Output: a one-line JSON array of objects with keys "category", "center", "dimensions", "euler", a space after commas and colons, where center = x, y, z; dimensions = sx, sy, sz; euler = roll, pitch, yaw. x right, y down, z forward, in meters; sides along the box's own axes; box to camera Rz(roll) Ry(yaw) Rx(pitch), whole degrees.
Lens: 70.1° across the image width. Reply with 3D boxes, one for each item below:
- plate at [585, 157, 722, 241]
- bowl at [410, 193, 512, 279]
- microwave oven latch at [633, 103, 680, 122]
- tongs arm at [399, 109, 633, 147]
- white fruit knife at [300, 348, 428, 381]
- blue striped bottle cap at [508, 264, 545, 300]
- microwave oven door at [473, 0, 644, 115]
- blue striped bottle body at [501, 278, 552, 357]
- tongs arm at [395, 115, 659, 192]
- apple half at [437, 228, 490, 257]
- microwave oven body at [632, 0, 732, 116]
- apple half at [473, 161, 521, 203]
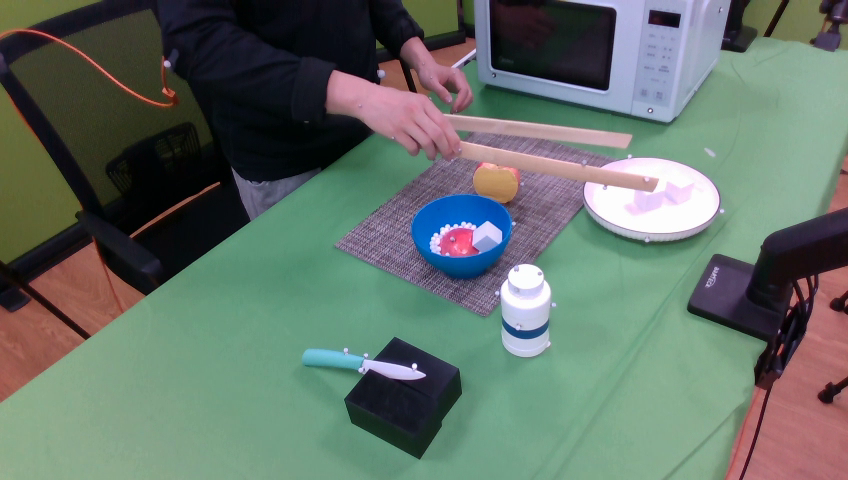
[{"category": "plate", "center": [0.367, -0.063, 0.979], "dimensions": [0.207, 0.039, 0.206], "euler": [-4, 40, 4]}, {"category": "bowl", "center": [0.058, 0.005, 0.905], "dimensions": [0.151, 0.077, 0.150], "euler": [-4, 40, 4]}, {"category": "microwave oven latch", "center": [0.443, -0.249, 1.157], "dimensions": [0.078, 0.029, 0.030], "euler": [21, 48, 30]}, {"category": "tongs arm", "center": [0.146, -0.166, 0.919], "dimensions": [0.389, 0.028, 0.028], "euler": [3, 47, -16]}, {"category": "white fruit knife", "center": [-0.079, 0.154, 0.748], "dimensions": [0.206, 0.027, 0.016], "euler": [1, 21, 34]}, {"category": "blue striped bottle cap", "center": [0.125, 0.051, 0.735], "dimensions": [0.044, 0.021, 0.044], "euler": [-6, 39, 5]}, {"category": "microwave oven door", "center": [0.257, -0.396, 1.199], "dimensions": [0.353, 0.245, 0.039], "euler": [21, 48, 29]}, {"category": "blue striped bottle body", "center": [0.129, 0.089, 0.769], "dimensions": [0.063, 0.121, 0.063], "euler": [-4, 40, 4]}, {"category": "tongs arm", "center": [0.149, -0.122, 0.868], "dimensions": [0.386, 0.026, 0.050], "euler": [8, 42, -9]}, {"category": "apple half", "center": [0.056, 0.002, 0.902], "dimensions": [0.081, 0.033, 0.081], "euler": [-3, 40, 3]}, {"category": "microwave oven body", "center": [0.377, -0.462, 1.267], "dimensions": [0.438, 0.261, 0.327], "euler": [21, 48, 30]}, {"category": "apple half", "center": [0.128, -0.107, 1.030], "dimensions": [0.080, 0.075, 0.053], "euler": [5, 38, 20]}]
